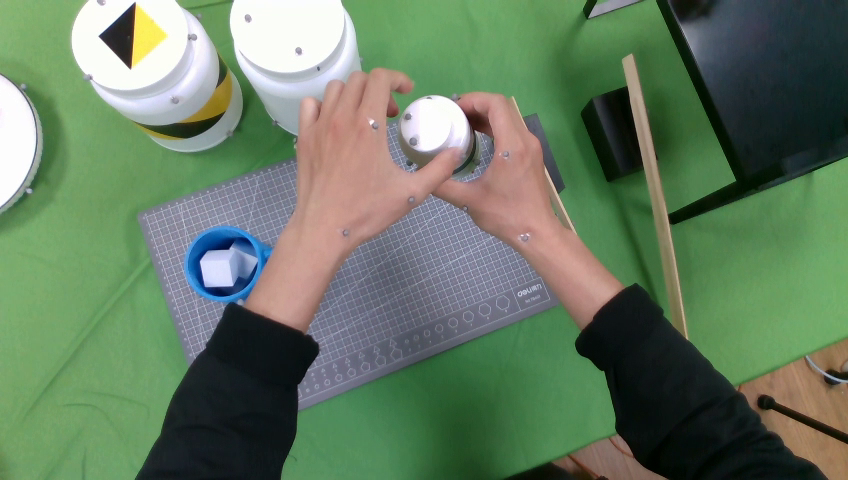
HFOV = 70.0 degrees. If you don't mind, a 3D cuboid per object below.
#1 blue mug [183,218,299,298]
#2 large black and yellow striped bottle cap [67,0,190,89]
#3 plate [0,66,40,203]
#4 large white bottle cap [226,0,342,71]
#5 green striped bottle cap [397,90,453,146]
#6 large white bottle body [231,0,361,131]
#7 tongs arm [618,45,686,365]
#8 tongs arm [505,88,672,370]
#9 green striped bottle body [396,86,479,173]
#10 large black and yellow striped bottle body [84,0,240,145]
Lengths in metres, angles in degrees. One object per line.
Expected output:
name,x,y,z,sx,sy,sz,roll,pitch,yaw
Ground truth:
blue mug,-0.203,0.020,0.701,0.116,0.106,0.082,-14,82,-4
large black and yellow striped bottle cap,-0.295,-0.208,0.606,0.115,0.019,0.114,1,83,-4
plate,-0.573,-0.124,0.741,0.208,0.039,0.207,0,83,-2
large white bottle cap,-0.141,-0.228,0.613,0.115,0.018,0.114,0,82,-3
green striped bottle cap,0.001,-0.100,0.499,0.044,0.020,0.044,0,90,13
large white bottle body,-0.143,-0.215,0.697,0.131,0.185,0.130,0,81,-2
tongs arm,0.274,-0.040,0.733,0.028,0.027,0.388,-13,95,-13
tongs arm,0.198,-0.011,0.723,0.051,0.026,0.385,-26,96,-8
green striped bottle body,0.013,-0.099,0.551,0.063,0.119,0.063,0,89,12
large black and yellow striped bottle body,-0.297,-0.195,0.688,0.131,0.184,0.130,0,82,-2
